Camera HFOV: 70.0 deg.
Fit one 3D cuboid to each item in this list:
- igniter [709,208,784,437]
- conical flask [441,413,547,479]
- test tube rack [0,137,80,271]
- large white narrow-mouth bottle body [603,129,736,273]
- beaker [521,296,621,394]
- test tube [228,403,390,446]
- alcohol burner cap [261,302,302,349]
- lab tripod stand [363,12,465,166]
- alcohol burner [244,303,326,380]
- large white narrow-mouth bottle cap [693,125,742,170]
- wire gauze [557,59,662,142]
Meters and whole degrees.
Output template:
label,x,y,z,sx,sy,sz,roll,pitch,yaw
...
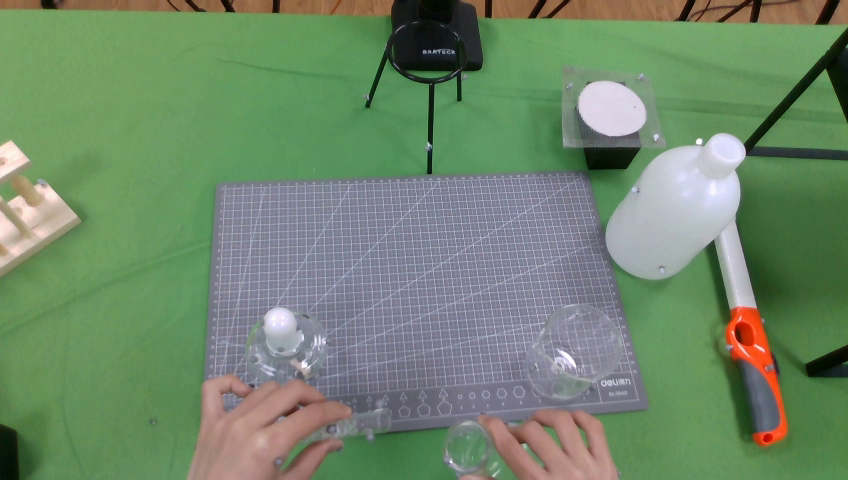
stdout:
label,x,y,z,sx,sy,sz,roll,pitch,yaw
igniter,0.356,0.079,0.680,0.057,0.025,0.274,8,62,-14
conical flask,0.052,0.170,0.491,0.075,0.123,0.074,-10,61,19
test tube rack,-0.481,0.010,0.593,0.066,0.086,0.242,42,67,14
large white narrow-mouth bottle body,0.265,-0.046,0.639,0.102,0.196,0.101,2,63,-4
beaker,0.138,0.109,0.599,0.084,0.101,0.073,-6,64,-8
test tube,-0.090,0.139,0.451,0.150,0.017,0.017,-16,60,27
alcohol burner cap,-0.129,0.074,0.540,0.034,0.048,0.033,2,58,-2
lab tripod stand,-0.003,-0.183,0.713,0.148,0.132,0.147,3,64,-6
alcohol burner,-0.132,0.090,0.572,0.078,0.120,0.077,3,62,-6
large white narrow-mouth bottle cap,0.272,-0.086,0.563,0.038,0.024,0.037,2,63,-4
wire gauze,0.225,-0.171,0.746,0.121,0.011,0.124,4,63,-4
